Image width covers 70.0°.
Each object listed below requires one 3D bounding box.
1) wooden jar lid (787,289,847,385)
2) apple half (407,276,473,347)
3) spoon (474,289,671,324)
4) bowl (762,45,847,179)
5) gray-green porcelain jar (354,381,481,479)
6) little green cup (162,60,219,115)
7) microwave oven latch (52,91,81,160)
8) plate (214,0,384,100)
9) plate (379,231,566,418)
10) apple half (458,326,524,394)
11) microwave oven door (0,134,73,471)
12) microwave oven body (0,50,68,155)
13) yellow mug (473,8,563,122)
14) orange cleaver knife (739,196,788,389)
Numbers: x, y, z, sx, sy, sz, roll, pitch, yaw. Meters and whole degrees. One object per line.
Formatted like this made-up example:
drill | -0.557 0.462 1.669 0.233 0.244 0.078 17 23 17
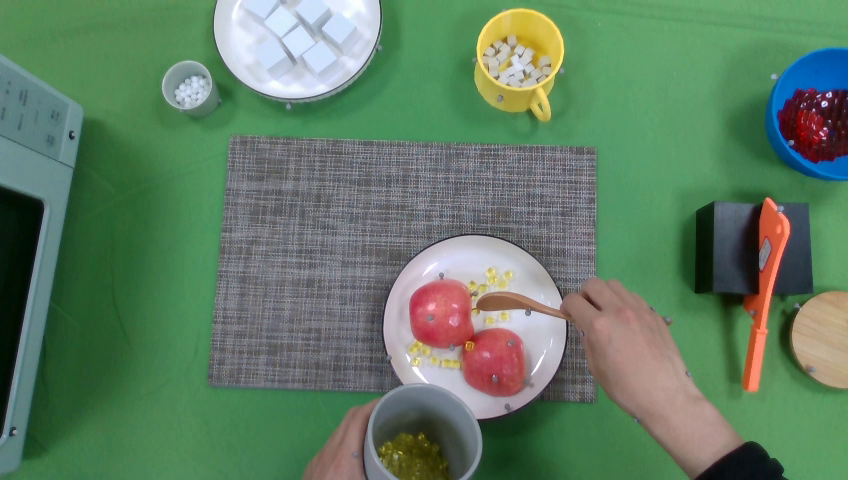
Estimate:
wooden jar lid | 0.464 0.109 0.686 0.108 0.021 0.108 0 82 3
apple half | 0.017 0.079 0.678 0.074 0.053 0.080 -1 83 4
spoon | 0.140 0.069 0.596 0.192 0.042 0.021 7 62 31
bowl | 0.452 -0.135 0.692 0.151 0.077 0.151 0 82 2
gray-green porcelain jar | -0.011 0.214 0.583 0.106 0.127 0.105 8 43 -8
little green cup | -0.283 -0.184 0.744 0.061 0.039 0.061 0 82 1
microwave oven latch | -0.435 -0.138 0.725 0.030 0.029 0.079 9 83 3
plate | -0.152 -0.270 0.753 0.207 0.039 0.207 0 82 2
plate | 0.054 0.095 0.690 0.209 0.038 0.208 0 82 2
apple half | 0.076 0.134 0.677 0.081 0.033 0.081 0 79 2
microwave oven door | -0.463 0.063 0.596 0.039 0.244 0.354 5 82 4
microwave oven body | -0.604 0.008 0.613 0.326 0.261 0.440 5 83 2
yellow mug | 0.116 -0.200 0.720 0.100 0.064 0.130 -26 83 -2
orange cleaver knife | 0.365 0.059 0.666 0.012 0.077 0.212 3 106 6
